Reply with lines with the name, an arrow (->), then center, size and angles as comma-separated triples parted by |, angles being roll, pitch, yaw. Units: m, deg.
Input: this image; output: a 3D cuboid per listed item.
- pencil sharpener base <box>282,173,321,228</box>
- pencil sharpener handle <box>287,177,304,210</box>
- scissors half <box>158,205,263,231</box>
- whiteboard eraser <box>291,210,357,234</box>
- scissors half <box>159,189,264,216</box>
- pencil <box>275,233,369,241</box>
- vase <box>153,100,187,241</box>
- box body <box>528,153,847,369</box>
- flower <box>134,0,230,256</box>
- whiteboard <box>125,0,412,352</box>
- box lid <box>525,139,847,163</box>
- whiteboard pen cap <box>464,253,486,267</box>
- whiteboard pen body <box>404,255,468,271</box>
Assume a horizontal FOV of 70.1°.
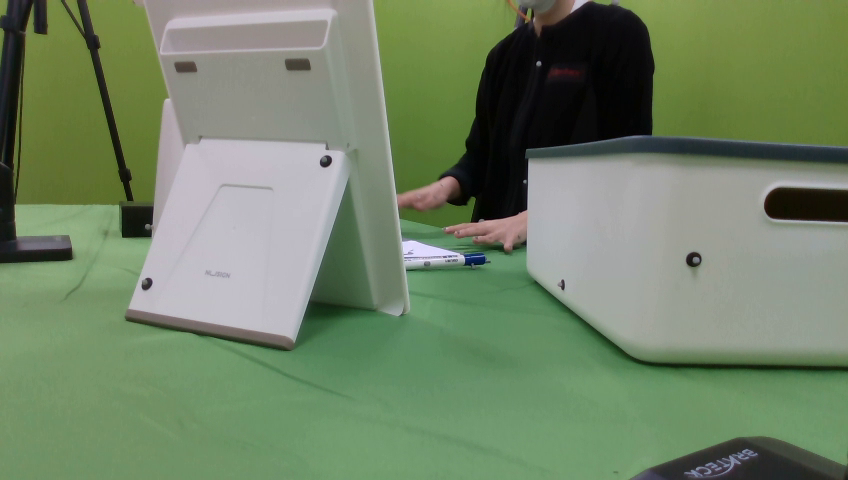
pencil sharpener base -> -0.247, -0.080, 1.212 | 0.061, 0.107, 0.076 | -2, 5, -28
pencil sharpener handle -> -0.269, -0.096, 1.257 | 0.036, 0.067, 0.030 | -8, 8, -27
scissors half -> -0.371, -0.042, 1.061 | 0.176, 0.040, 0.012 | 8, 4, -27
whiteboard eraser -> -0.184, -0.034, 1.115 | 0.113, 0.042, 0.055 | -3, 10, -40
scissors half -> -0.370, -0.062, 1.059 | 0.176, 0.040, 0.013 | -11, 8, -26
pencil -> -0.169, -0.006, 1.036 | 0.195, 0.012, 0.012 | -2, 9, -45
vase -> -0.278, -0.066, 0.736 | 0.098, 0.200, 0.098 | 2, 9, 0
box body -> 0.258, -0.005, 0.591 | 0.254, 0.160, 0.363 | 2, 7, -4
flower -> -0.282, -0.147, 0.713 | 0.038, 0.362, 0.044 | -23, 24, -31
whiteboard -> -0.151, -0.049, 0.471 | 0.216, 0.305, 0.144 | 6, 27, 24
box lid -> 0.261, -0.078, 0.580 | 0.264, 0.015, 0.371 | 2, 7, -4
whiteboard pen cap -> 0.066, 0.027, 0.818 | 0.033, 0.018, 0.018 | -5, 10, -24
whiteboard pen body -> 0.013, 0.030, 0.792 | 0.141, 0.017, 0.017 | -3, 9, -24
